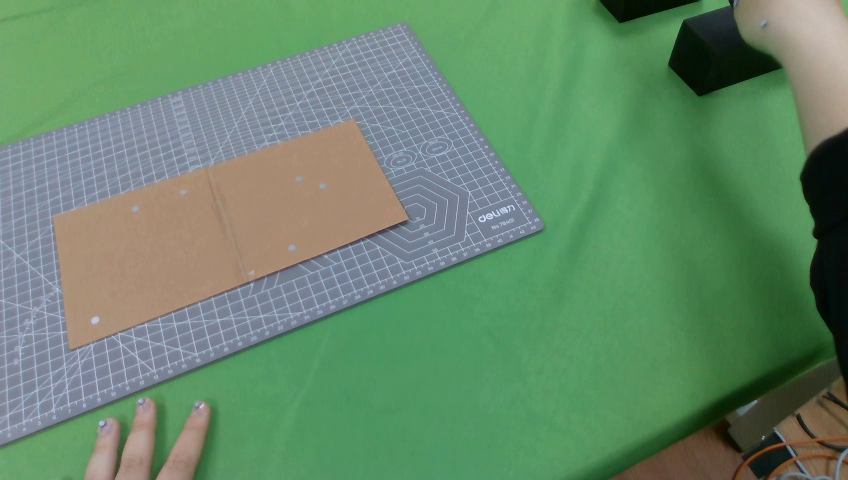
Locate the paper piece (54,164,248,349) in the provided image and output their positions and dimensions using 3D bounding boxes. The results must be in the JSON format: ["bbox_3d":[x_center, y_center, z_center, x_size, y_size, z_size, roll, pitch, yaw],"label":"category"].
[{"bbox_3d":[-0.223,0.005,0.487,0.138,0.009,0.134,-21,54,-10],"label":"paper piece"}]

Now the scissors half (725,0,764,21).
[{"bbox_3d":[0.242,-0.264,0.490,0.040,0.013,0.175,-12,90,-25],"label":"scissors half"}]

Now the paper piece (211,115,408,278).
[{"bbox_3d":[-0.101,-0.044,0.512,0.135,0.004,0.134,-22,56,-10],"label":"paper piece"}]

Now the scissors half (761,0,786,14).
[{"bbox_3d":[0.259,-0.270,0.497,0.040,0.012,0.175,-29,97,-19],"label":"scissors half"}]
